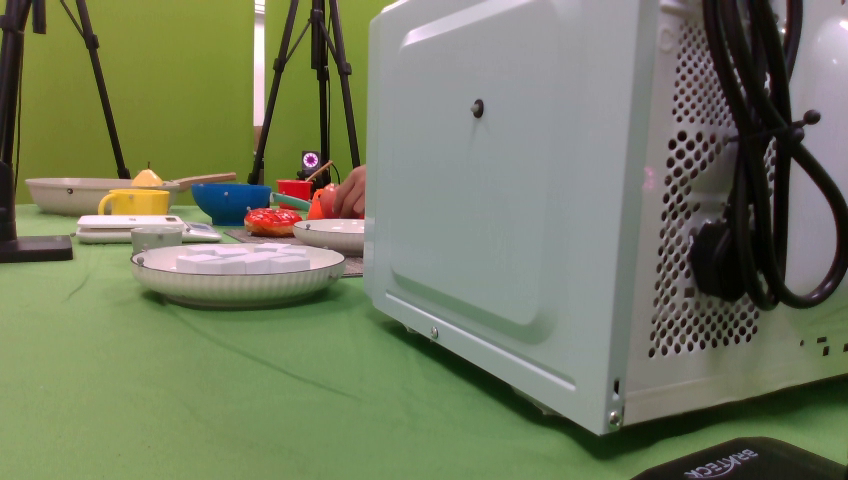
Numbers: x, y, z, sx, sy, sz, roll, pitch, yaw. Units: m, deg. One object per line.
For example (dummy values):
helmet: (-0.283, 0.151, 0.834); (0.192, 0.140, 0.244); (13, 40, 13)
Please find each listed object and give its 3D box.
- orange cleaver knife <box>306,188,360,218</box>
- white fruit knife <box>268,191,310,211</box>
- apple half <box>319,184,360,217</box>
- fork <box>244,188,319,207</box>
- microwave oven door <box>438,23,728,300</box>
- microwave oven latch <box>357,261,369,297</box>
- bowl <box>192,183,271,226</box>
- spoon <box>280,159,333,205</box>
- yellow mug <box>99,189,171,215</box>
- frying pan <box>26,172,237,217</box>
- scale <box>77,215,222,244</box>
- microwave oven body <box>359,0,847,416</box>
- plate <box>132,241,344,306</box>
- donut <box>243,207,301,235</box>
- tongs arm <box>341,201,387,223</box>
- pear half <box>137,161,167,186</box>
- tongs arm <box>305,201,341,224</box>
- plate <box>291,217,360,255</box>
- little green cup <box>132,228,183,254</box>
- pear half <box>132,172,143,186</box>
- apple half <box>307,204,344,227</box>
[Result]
orange cleaver knife: (-0.120, -0.058, 1.162); (0.212, 0.077, 0.012); (1, 8, -20)
white fruit knife: (-0.364, -0.105, 1.464); (0.208, 0.027, 0.016); (15, -1, -34)
apple half: (-0.149, -0.059, 1.099); (0.081, 0.074, 0.053); (9, 25, -20)
fork: (-0.356, -0.105, 1.526); (0.208, 0.018, 0.028); (16, -6, -41)
microwave oven door: (0.181, -0.073, 0.621); (0.358, 0.243, 0.039); (-2, 8, -29)
microwave oven latch: (-0.019, 0.033, 0.530); (0.079, 0.029, 0.030); (-1, 7, -27)
bowl: (-0.382, -0.071, 1.202); (0.151, 0.077, 0.151); (3, 7, 0)
spoon: (-0.316, -0.159, 1.640); (0.194, 0.022, 0.041); (-50, 32, -20)
yellow mug: (-0.519, -0.055, 1.080); (0.099, 0.064, 0.131); (7, 9, 26)
frying pan: (-0.624, -0.118, 1.387); (0.305, 0.102, 0.490); (8, 17, 32)
scale: (-0.434, -0.019, 0.963); (0.202, 0.031, 0.148); (-1, 9, -27)
microwave oven body: (0.211, -0.047, 0.474); (0.444, 0.260, 0.324); (-1, 7, -28)
plate: (-0.187, 0.033, 0.625); (0.208, 0.039, 0.207); (2, 7, 0)
donut: (-0.261, -0.032, 1.043); (0.099, 0.048, 0.099); (4, 9, 0)
tongs arm: (-0.149, -0.069, 1.430); (0.051, 0.026, 0.383); (-4, 8, -14)
pear half: (-0.602, -0.120, 1.354); (0.056, 0.110, 0.076); (4, 11, 6)
tongs arm: (-0.234, -0.067, 1.415); (0.028, 0.028, 0.387); (-5, 7, 1)
plate: (-0.098, -0.007, 0.928); (0.209, 0.038, 0.209); (2, 8, 0)
little green cup: (-0.342, 0.006, 0.779); (0.061, 0.038, 0.061); (2, 8, 0)
pear half: (-0.638, -0.113, 1.361); (0.031, 0.088, 0.070); (5, 11, 4)
apple half: (-0.193, -0.045, 1.222); (0.081, 0.033, 0.081); (-19, -2, 0)
